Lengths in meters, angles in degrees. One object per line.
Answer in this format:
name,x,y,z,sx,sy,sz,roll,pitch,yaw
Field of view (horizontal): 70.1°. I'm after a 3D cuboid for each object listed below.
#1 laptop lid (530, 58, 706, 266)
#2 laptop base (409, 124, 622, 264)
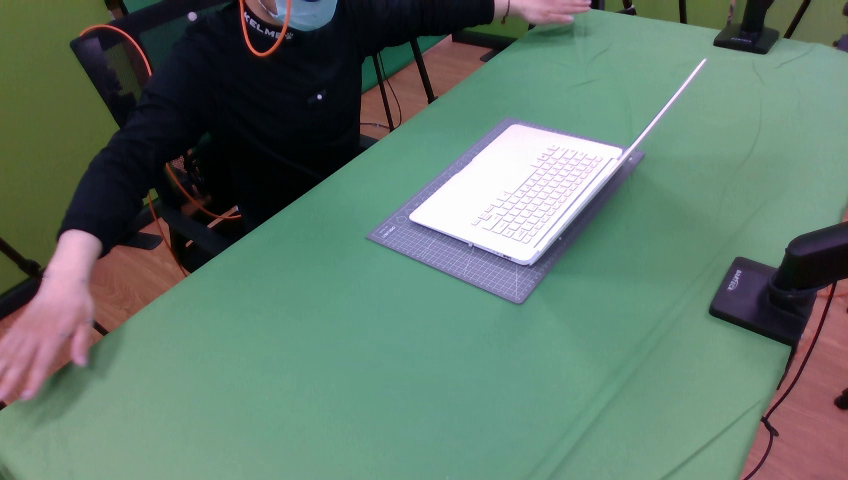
laptop lid,0.293,-0.118,0.905,0.013,0.241,0.357,40,53,9
laptop base,0.168,-0.095,1.057,0.233,0.023,0.355,20,47,32
